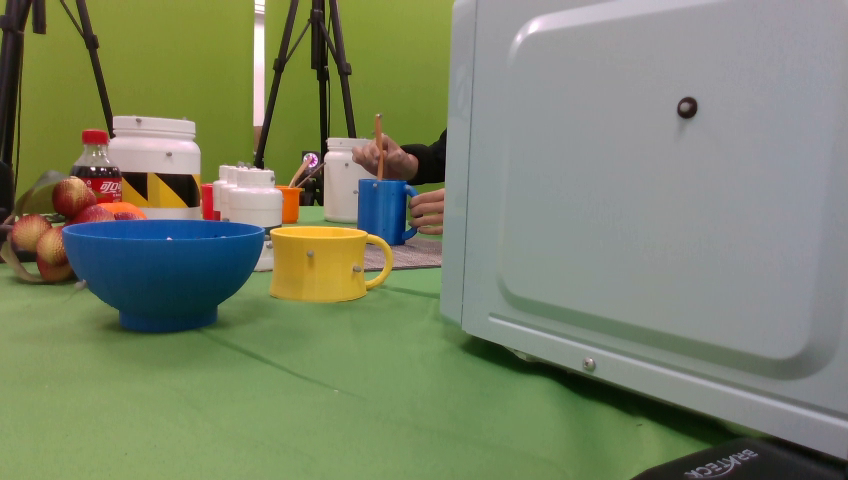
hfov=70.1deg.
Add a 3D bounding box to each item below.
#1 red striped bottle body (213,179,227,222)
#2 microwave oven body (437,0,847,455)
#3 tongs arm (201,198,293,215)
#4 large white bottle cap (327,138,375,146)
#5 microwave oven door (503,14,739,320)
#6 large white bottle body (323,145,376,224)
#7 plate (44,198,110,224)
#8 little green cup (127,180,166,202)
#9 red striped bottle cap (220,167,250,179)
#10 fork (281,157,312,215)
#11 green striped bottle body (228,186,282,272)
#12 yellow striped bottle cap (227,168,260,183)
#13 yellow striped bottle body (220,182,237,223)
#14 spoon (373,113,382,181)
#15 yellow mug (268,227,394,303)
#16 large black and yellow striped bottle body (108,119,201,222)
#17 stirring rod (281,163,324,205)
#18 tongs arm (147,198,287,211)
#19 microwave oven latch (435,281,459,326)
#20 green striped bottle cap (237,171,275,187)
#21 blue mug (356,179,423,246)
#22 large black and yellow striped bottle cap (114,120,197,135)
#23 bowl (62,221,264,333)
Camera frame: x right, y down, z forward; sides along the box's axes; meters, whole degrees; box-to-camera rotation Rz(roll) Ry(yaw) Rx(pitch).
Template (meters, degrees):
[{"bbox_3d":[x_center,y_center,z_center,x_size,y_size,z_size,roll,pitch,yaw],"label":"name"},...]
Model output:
[{"bbox_3d":[-0.284,-0.048,0.909,0.063,0.119,0.063,3,10,0],"label":"red striped bottle body"},{"bbox_3d":[0.279,-0.040,0.465,0.444,0.260,0.324,-3,9,-41],"label":"microwave oven body"},{"bbox_3d":[-0.423,-0.084,1.472,0.050,0.026,0.386,2,6,21],"label":"tongs arm"},{"bbox_3d":[-0.160,-0.218,1.357,0.115,0.018,0.115,2,8,0],"label":"large white bottle cap"},{"bbox_3d":[0.217,-0.065,0.600,0.358,0.243,0.039,-4,10,-41],"label":"microwave oven door"},{"bbox_3d":[-0.163,-0.134,1.369,0.131,0.184,0.130,2,8,0],"label":"large white bottle body"},{"bbox_3d":[-0.617,-0.056,1.179,0.209,0.038,0.209,3,7,0],"label":"plate"},{"bbox_3d":[-0.485,-0.087,1.062,0.061,0.038,0.061,0,7,0],"label":"little green cup"},{"bbox_3d":[-0.281,-0.100,0.901,0.044,0.017,0.044,-1,5,0],"label":"red striped bottle cap"},{"bbox_3d":[-0.289,-0.116,1.321,0.028,0.019,0.207,6,51,19],"label":"fork"},{"bbox_3d":[-0.208,-0.023,0.745,0.063,0.119,0.063,2,7,0],"label":"green striped bottle body"},{"bbox_3d":[-0.243,-0.087,0.818,0.044,0.018,0.044,4,6,0],"label":"yellow striped bottle cap"},{"bbox_3d":[-0.246,-0.036,0.825,0.063,0.120,0.063,3,8,0],"label":"yellow striped bottle body"},{"bbox_3d":[-0.079,-0.114,1.004,0.022,0.193,0.041,5,-7,-30],"label":"spoon"},{"bbox_3d":[-0.094,0.023,0.629,0.131,0.064,0.099,0,7,-22],"label":"yellow mug"},{"bbox_3d":[-0.412,-0.088,0.930,0.131,0.184,0.130,3,7,0],"label":"large black and yellow striped bottle body"},{"bbox_3d":[-0.278,-0.105,1.293,0.176,0.006,0.014,-47,25,-18],"label":"stirring rod"},{"bbox_3d":[-0.504,-0.091,1.513,0.028,0.028,0.389,0,4,37],"label":"tongs arm"},{"bbox_3d":[0.044,0.045,0.470,0.079,0.029,0.030,-3,8,-39],"label":"microwave oven latch"},{"bbox_3d":[-0.206,-0.074,0.738,0.044,0.020,0.044,1,9,0],"label":"green striped bottle cap"},{"bbox_3d":[-0.056,-0.046,1.005,0.116,0.106,0.082,5,8,21],"label":"blue mug"},{"bbox_3d":[-0.407,-0.171,0.920,0.115,0.019,0.115,2,9,0],"label":"large black and yellow striped bottle cap"},{"bbox_3d":[-0.209,0.029,0.496,0.151,0.077,0.151,2,7,0],"label":"bowl"}]
